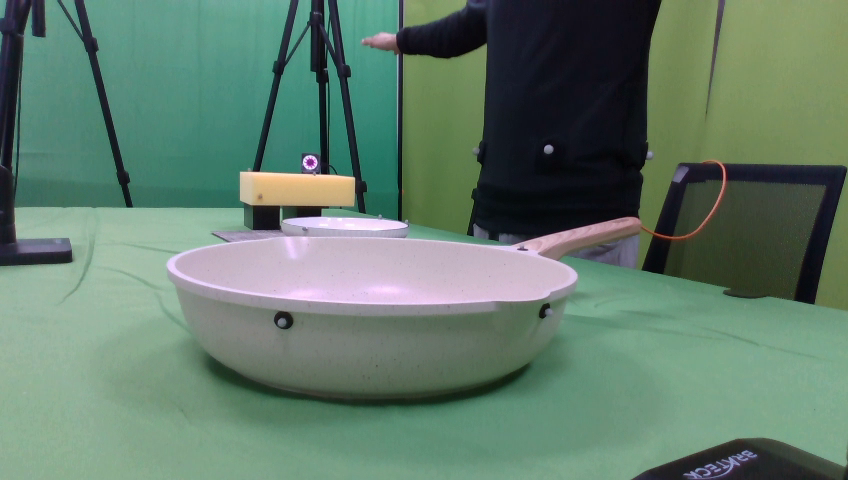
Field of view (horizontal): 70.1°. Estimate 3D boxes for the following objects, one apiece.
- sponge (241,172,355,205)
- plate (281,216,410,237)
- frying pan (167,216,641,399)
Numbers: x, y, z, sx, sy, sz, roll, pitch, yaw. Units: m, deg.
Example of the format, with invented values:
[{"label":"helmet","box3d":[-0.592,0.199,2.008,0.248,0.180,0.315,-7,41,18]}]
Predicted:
[{"label":"sponge","box3d":[-0.257,-0.104,1.226,0.208,0.061,0.117,-2,8,-28]},{"label":"plate","box3d":[-0.126,-0.012,0.986,0.208,0.039,0.207,2,7,0]},{"label":"frying pan","box3d":[0.046,0.024,0.519,0.490,0.102,0.305,-14,16,-37]}]
